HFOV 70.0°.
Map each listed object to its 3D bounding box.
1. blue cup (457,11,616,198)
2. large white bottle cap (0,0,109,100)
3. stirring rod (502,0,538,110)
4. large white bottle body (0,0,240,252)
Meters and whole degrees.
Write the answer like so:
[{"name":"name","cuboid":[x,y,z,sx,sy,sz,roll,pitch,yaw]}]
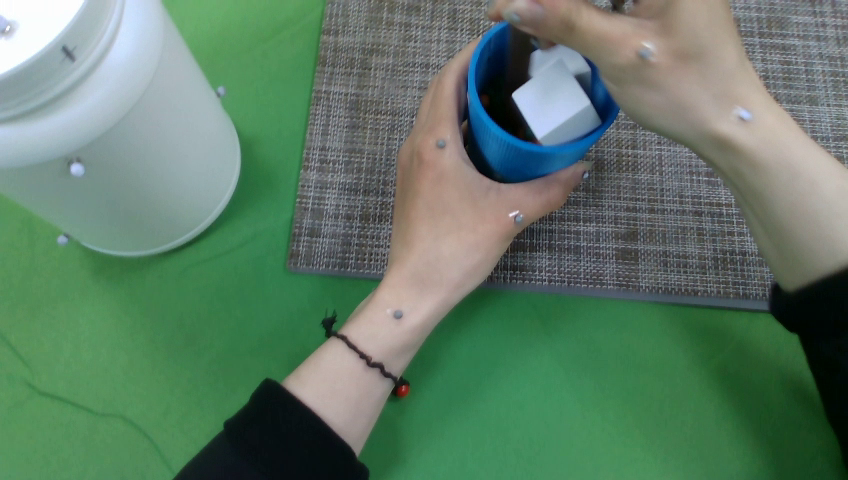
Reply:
[{"name":"blue cup","cuboid":[0.064,-0.072,0.373,0.092,0.101,0.092,-1,72,4]},{"name":"large white bottle cap","cuboid":[-0.191,-0.108,0.252,0.115,0.018,0.114,0,72,0]},{"name":"stirring rod","cuboid":[0.048,-0.101,0.303,0.014,0.177,0.005,-23,68,-4]},{"name":"large white bottle body","cuboid":[-0.190,-0.080,0.332,0.130,0.185,0.130,0,72,0]}]
